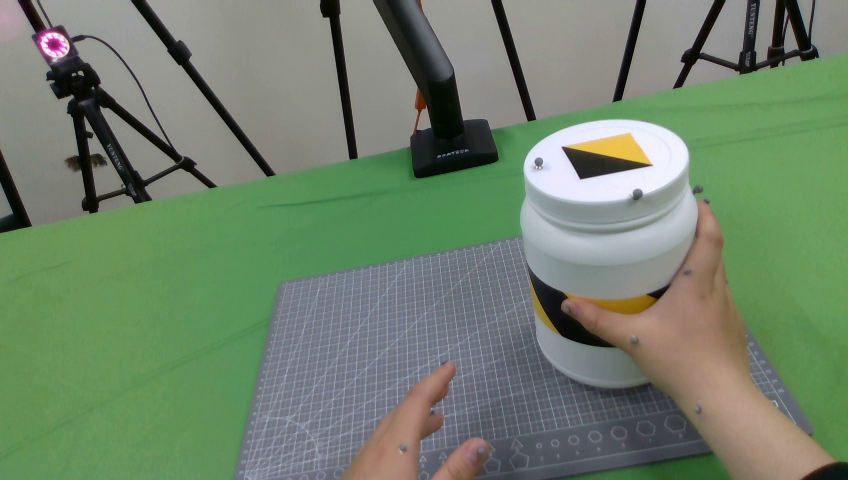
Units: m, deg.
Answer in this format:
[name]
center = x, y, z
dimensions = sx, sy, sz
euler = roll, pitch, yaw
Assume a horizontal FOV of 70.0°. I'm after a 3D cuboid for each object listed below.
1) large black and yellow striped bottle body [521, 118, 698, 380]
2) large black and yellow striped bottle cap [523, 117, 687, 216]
[large black and yellow striped bottle body]
center = 0.149, 0.008, 0.491
dimensions = 0.130, 0.186, 0.129
euler = -10, 37, 8
[large black and yellow striped bottle cap]
center = 0.130, -0.057, 0.441
dimensions = 0.115, 0.019, 0.114
euler = -8, 36, 7
